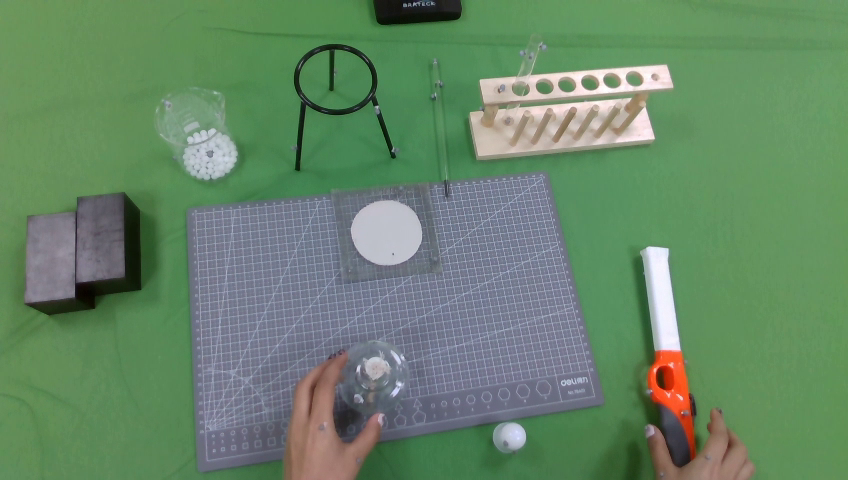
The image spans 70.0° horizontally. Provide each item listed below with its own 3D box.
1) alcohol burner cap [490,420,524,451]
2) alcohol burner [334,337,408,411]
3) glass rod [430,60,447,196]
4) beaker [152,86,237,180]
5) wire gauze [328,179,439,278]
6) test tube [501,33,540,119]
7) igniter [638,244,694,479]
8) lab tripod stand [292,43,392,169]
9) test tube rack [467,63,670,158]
[{"bbox_3d":[0.093,0.212,0.660,0.034,0.048,0.033,2,70,-5],"label":"alcohol burner cap"},{"bbox_3d":[-0.054,0.136,0.628,0.078,0.119,0.077,3,68,-6],"label":"alcohol burner"},{"bbox_3d":[0.019,-0.149,0.791,0.008,0.008,0.198,-2,72,-7],"label":"glass rod"},{"bbox_3d":[-0.259,-0.121,0.704,0.074,0.101,0.084,41,71,8],"label":"beaker"},{"bbox_3d":[-0.050,-0.015,0.737,0.125,0.011,0.120,-6,71,-7],"label":"wire gauze"},{"bbox_3d":[0.113,-0.191,0.724,0.017,0.151,0.017,2,67,-4],"label":"test tube"},{"bbox_3d":[0.283,0.138,0.713,0.057,0.025,0.274,6,71,-15],"label":"igniter"},{"bbox_3d":[-0.106,-0.158,0.716,0.148,0.132,0.147,1,70,-3],"label":"lab tripod stand"},{"bbox_3d":[0.184,-0.165,0.775,0.243,0.085,0.066,-7,71,-8],"label":"test tube rack"}]
